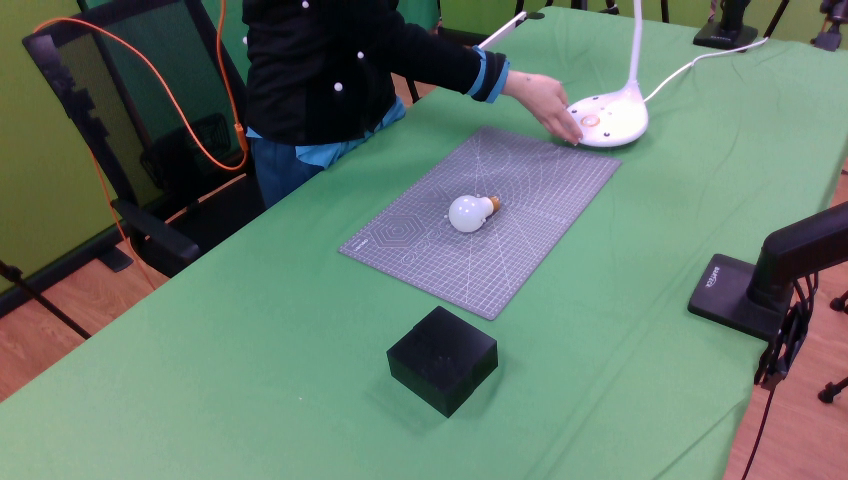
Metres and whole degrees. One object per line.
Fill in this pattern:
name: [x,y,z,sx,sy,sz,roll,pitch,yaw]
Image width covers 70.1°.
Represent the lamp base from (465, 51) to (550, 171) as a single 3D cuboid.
lamp base: [0.159,-0.243,1.103,0.180,0.181,0.159,-32,46,-29]
